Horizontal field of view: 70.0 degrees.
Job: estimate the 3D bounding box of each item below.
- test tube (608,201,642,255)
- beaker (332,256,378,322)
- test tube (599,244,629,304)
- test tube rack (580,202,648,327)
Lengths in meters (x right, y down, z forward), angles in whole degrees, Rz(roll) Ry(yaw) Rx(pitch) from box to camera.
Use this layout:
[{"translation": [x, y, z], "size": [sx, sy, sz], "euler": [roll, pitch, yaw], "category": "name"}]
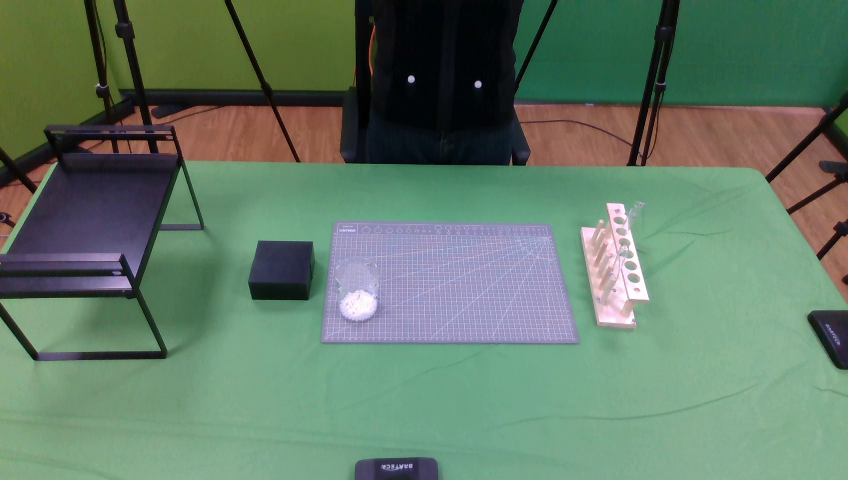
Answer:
[{"translation": [0.373, -0.019, 1.134], "size": [0.017, 0.151, 0.017], "euler": [3, 52, -4], "category": "test tube"}, {"translation": [-0.114, 0.089, 1.047], "size": [0.083, 0.101, 0.074], "euler": [30, 52, 21], "category": "beaker"}, {"translation": [0.331, 0.061, 1.059], "size": [0.017, 0.151, 0.017], "euler": [2, 46, -1], "category": "test tube"}, {"translation": [0.352, 0.040, 1.143], "size": [0.067, 0.085, 0.241], "euler": [4, 46, 0], "category": "test tube rack"}]
